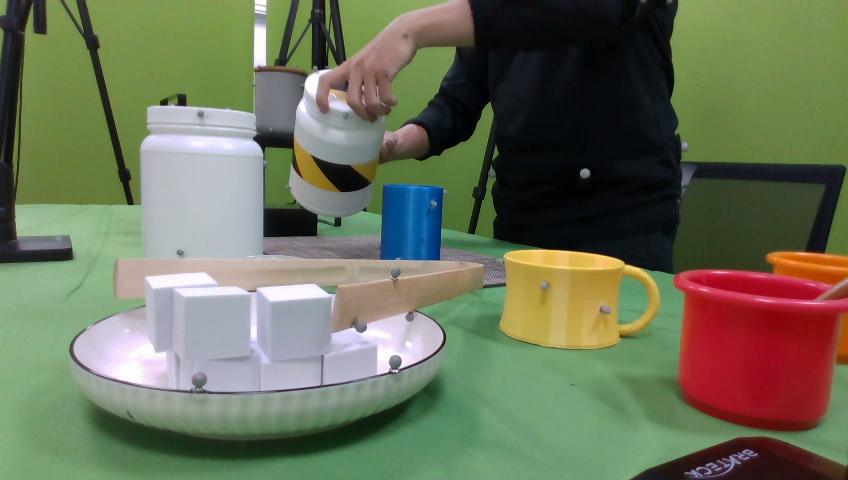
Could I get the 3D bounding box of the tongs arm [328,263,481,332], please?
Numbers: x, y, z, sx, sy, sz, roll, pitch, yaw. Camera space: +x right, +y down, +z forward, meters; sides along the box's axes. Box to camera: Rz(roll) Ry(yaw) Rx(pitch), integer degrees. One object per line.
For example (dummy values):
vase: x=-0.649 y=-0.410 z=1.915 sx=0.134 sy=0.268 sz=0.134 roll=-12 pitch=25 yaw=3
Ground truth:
tongs arm: x=-0.003 y=0.036 z=0.492 sx=0.050 sy=0.026 sz=0.386 roll=1 pitch=-1 yaw=19

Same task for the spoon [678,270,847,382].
spoon: x=0.229 y=0.031 z=0.338 sx=0.193 sy=0.021 sz=0.042 roll=-44 pitch=-17 yaw=27

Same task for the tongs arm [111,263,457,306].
tongs arm: x=-0.080 y=0.033 z=0.527 sx=0.028 sy=0.027 sz=0.389 roll=-4 pitch=-4 yaw=33

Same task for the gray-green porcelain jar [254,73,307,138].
gray-green porcelain jar: x=-0.298 y=-0.277 z=1.259 sx=0.106 sy=0.126 sz=0.106 roll=3 pitch=7 yaw=0

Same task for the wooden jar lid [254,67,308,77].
wooden jar lid: x=-0.296 y=-0.339 z=1.251 sx=0.108 sy=0.020 sz=0.108 roll=2 pitch=7 yaw=0

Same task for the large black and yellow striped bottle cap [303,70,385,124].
large black and yellow striped bottle cap: x=-0.111 y=-0.203 z=0.851 sx=0.115 sy=0.019 sz=0.114 roll=10 pitch=42 yaw=-9

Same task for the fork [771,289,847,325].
fork: x=0.335 y=0.018 z=0.443 sx=0.028 sy=0.018 sz=0.207 roll=-1 pitch=-36 yaw=-20

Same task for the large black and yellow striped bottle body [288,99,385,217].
large black and yellow striped bottle body: x=-0.131 y=-0.141 z=0.906 sx=0.131 sy=0.184 sz=0.130 roll=10 pitch=41 yaw=-9

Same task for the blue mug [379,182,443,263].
blue mug: x=-0.020 y=-0.026 z=0.833 sx=0.082 sy=0.106 sz=0.116 roll=1 pitch=7 yaw=-7

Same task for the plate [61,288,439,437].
plate: x=-0.095 y=0.069 z=0.362 sx=0.208 sy=0.039 sz=0.207 roll=3 pitch=7 yaw=0

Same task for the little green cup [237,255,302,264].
little green cup: x=-0.150 y=0.038 z=0.590 sx=0.061 sy=0.038 sz=0.061 roll=3 pitch=6 yaw=0

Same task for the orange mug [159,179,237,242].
orange mug: x=-0.368 y=-0.052 z=0.991 sx=0.127 sy=0.101 sz=0.083 roll=-10 pitch=14 yaw=-41

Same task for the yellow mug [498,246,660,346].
yellow mug: x=0.130 y=0.045 z=0.508 sx=0.131 sy=0.064 sz=0.100 roll=4 pitch=7 yaw=6

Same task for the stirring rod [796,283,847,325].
stirring rod: x=0.347 y=0.019 z=0.460 sx=0.014 sy=0.176 sz=0.006 roll=-16 pitch=59 yaw=-26

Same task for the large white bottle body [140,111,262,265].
large white bottle body: x=-0.254 y=-0.053 z=0.697 sx=0.131 sy=0.184 sz=0.130 roll=2 pitch=7 yaw=0

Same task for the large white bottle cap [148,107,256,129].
large white bottle cap: x=-0.250 y=-0.137 z=0.686 sx=0.115 sy=0.018 sz=0.115 roll=3 pitch=8 yaw=0
